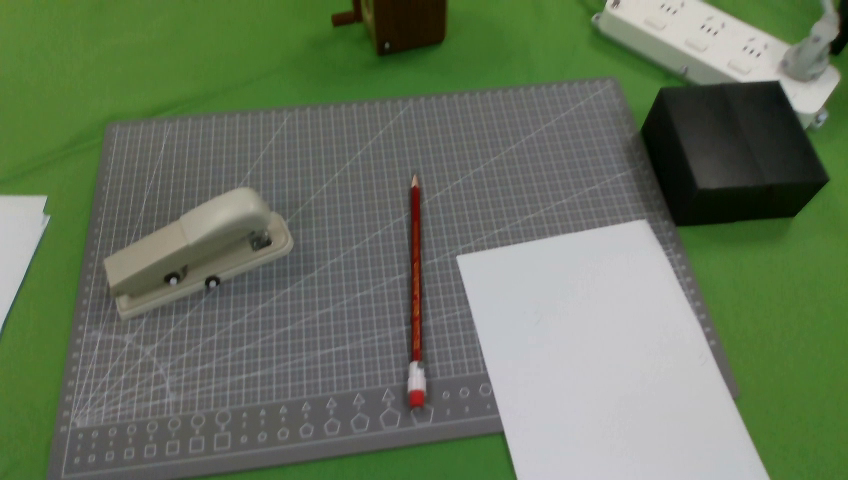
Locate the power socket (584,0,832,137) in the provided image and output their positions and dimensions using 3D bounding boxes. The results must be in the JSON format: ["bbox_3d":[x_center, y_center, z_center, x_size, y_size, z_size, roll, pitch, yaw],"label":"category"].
[{"bbox_3d":[0.259,-0.171,0.558,0.225,0.033,0.072,36,64,19],"label":"power socket"}]

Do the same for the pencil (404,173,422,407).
[{"bbox_3d":[-0.010,0.027,0.446,0.012,0.012,0.192,-1,58,-2],"label":"pencil"}]

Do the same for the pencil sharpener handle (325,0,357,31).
[{"bbox_3d":[-0.075,-0.214,0.518,0.031,0.068,0.035,-17,38,-10],"label":"pencil sharpener handle"}]

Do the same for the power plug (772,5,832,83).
[{"bbox_3d":[0.334,-0.161,0.527,0.072,0.053,0.035,-36,66,-19],"label":"power plug"}]

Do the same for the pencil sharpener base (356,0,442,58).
[{"bbox_3d":[-0.029,-0.226,0.541,0.077,0.108,0.061,-16,61,-10],"label":"pencil sharpener base"}]

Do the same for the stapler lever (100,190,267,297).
[{"bbox_3d":[-0.168,0.000,0.421,0.118,0.040,0.026,-23,61,-14],"label":"stapler lever"}]

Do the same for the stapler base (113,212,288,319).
[{"bbox_3d":[-0.166,0.012,0.443,0.131,0.024,0.041,-24,61,-13],"label":"stapler base"}]
